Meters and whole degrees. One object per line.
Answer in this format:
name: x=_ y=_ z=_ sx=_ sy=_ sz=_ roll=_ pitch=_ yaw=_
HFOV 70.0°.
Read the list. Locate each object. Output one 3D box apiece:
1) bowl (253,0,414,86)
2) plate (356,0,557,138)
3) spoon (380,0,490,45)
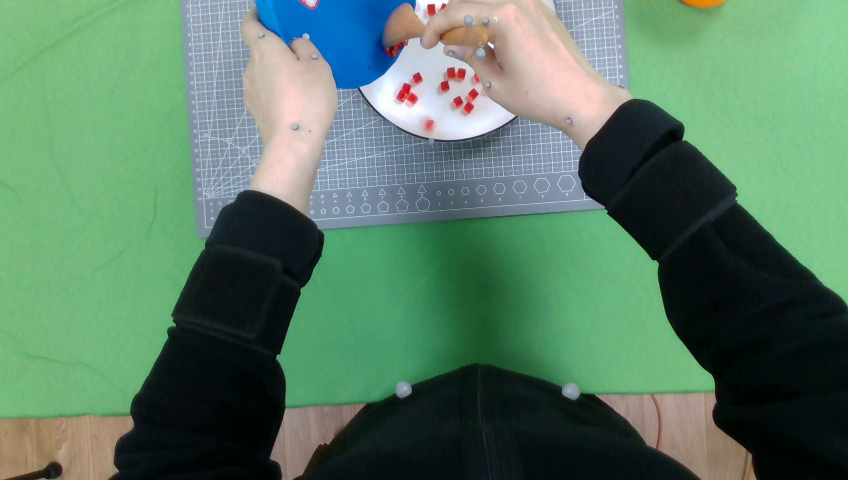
bowl: x=-0.087 y=-0.210 z=0.503 sx=0.076 sy=0.153 sz=0.151 roll=23 pitch=92 yaw=38
plate: x=0.025 y=-0.203 z=0.598 sx=0.209 sy=0.038 sz=0.209 roll=0 pitch=90 yaw=3
spoon: x=0.004 y=-0.160 z=0.456 sx=0.022 sy=0.191 sz=0.041 roll=25 pitch=98 yaw=-33
